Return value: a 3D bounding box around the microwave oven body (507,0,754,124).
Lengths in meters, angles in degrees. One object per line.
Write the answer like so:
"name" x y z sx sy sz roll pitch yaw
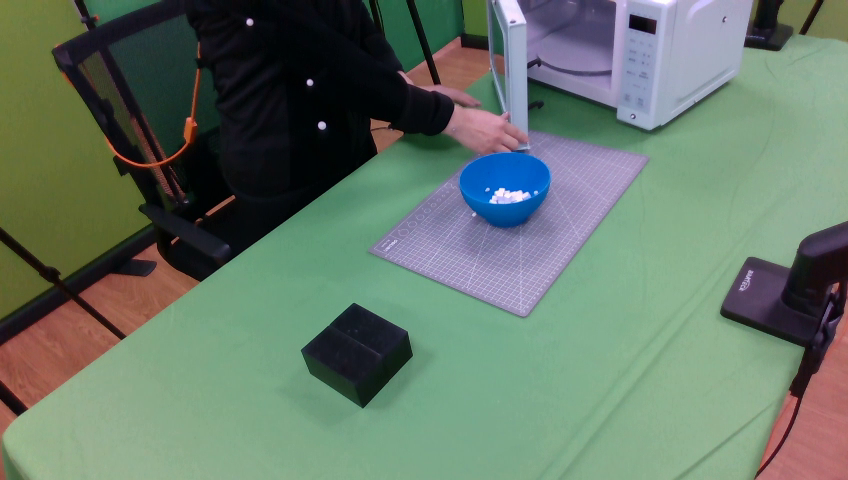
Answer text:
"microwave oven body" 0.402 -0.458 1.259 0.327 0.261 0.437 -33 45 -24

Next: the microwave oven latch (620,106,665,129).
"microwave oven latch" 0.413 -0.237 1.146 0.030 0.029 0.078 -32 44 -23

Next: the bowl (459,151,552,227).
"bowl" 0.136 -0.074 1.000 0.151 0.077 0.150 -6 40 5

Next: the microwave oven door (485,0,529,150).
"microwave oven door" 0.161 -0.375 1.200 0.039 0.245 0.354 -7 40 3
